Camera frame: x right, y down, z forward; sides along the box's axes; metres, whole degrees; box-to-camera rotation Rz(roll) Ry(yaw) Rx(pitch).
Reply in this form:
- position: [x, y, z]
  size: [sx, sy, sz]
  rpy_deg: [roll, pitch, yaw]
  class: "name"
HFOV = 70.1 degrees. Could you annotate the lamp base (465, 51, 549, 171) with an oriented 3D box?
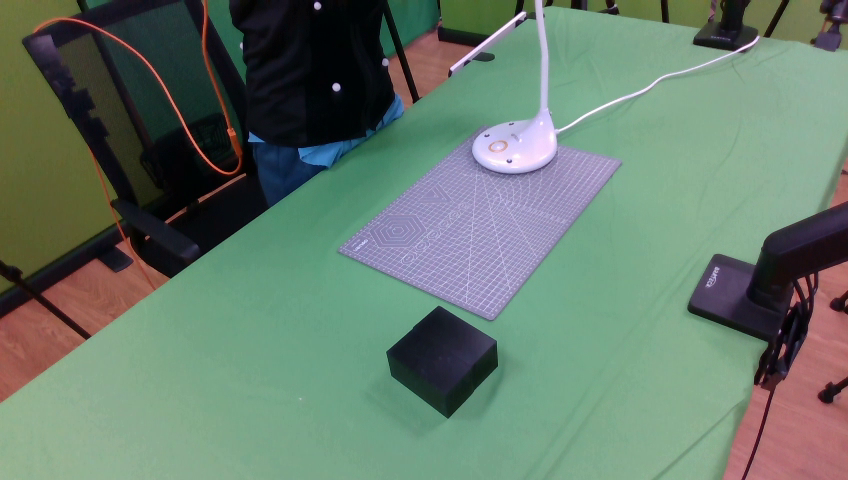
- position: [0.159, -0.243, 1.103]
  size: [0.180, 0.181, 0.159]
  rpy_deg: [-32, 46, -29]
  class: "lamp base"
